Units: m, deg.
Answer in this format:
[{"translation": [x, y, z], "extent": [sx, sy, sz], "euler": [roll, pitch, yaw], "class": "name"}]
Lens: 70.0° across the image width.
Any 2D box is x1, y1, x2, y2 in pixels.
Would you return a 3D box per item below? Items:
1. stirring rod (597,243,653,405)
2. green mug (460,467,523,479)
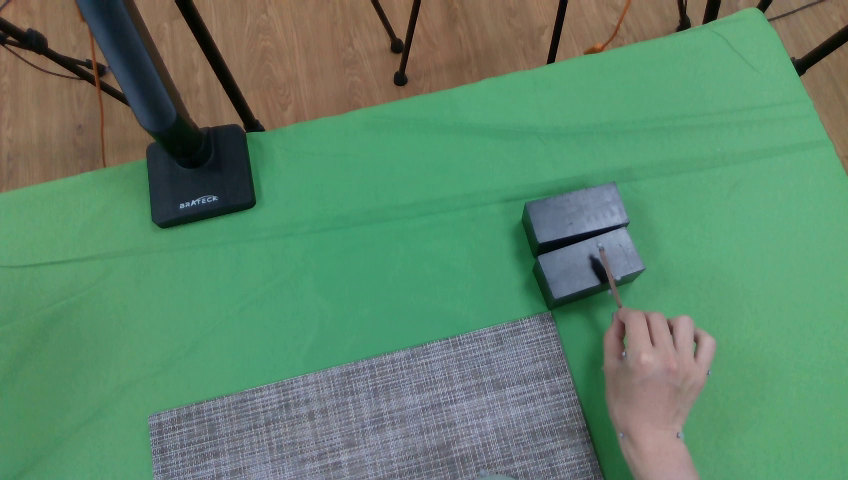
[{"translation": [0.206, 0.087, 0.620], "extent": [0.006, 0.014, 0.176], "euler": [-18, 94, 17], "class": "stirring rod"}, {"translation": [0.072, 0.270, 0.548], "extent": [0.092, 0.105, 0.124], "euler": [-30, 73, -7], "class": "green mug"}]
